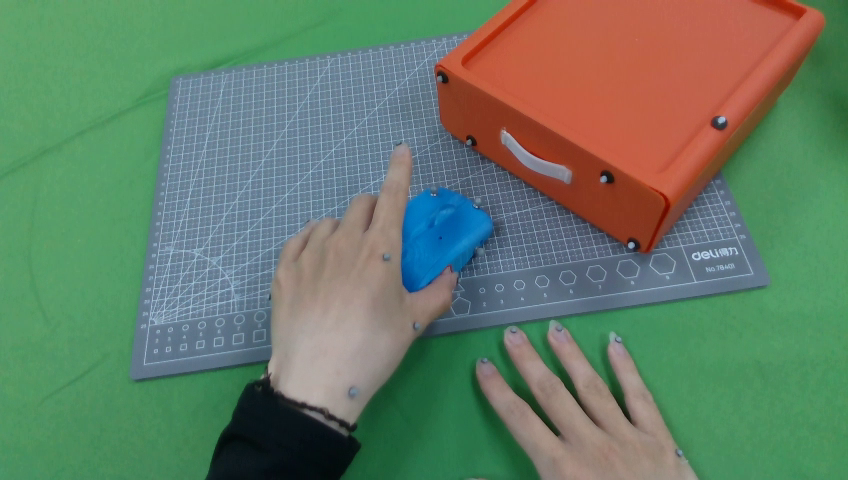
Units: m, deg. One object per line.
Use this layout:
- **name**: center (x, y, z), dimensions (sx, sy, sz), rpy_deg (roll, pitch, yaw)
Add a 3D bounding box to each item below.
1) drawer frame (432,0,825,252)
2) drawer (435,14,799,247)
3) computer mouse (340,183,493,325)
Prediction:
- **drawer frame**: center (0.150, -0.130, 0.470), dimensions (0.200, 0.083, 0.213), rpy_deg (36, 68, 24)
- **drawer**: center (0.149, -0.128, 0.471), dimensions (0.193, 0.074, 0.211), rpy_deg (37, 69, 24)
- **computer mouse**: center (-0.005, 0.004, 0.435), dimensions (0.062, 0.041, 0.117), rpy_deg (32, 64, 24)
